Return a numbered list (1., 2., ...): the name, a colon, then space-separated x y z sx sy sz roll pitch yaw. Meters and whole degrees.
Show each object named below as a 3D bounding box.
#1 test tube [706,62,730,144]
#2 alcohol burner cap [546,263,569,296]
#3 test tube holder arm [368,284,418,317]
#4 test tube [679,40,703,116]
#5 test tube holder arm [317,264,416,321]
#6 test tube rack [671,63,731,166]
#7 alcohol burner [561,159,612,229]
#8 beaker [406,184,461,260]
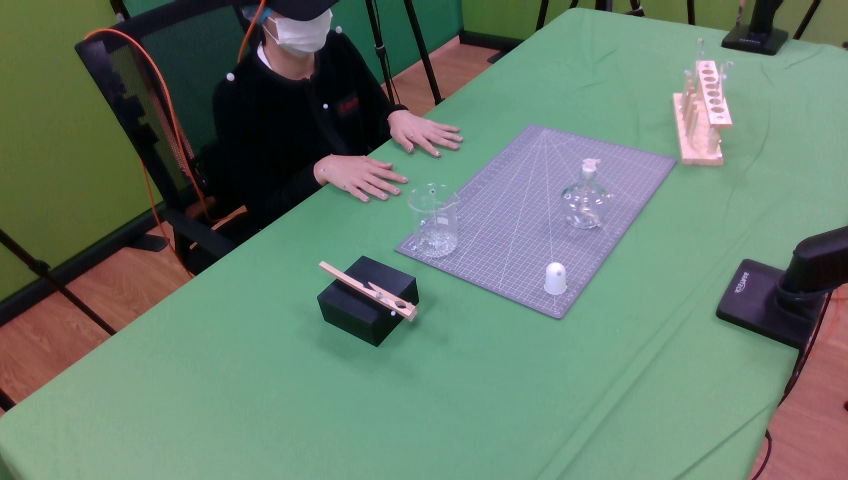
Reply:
1. test tube: 0.507 -0.233 1.046 0.017 0.151 0.017 -5 36 4
2. alcohol burner cap: 0.191 0.053 0.862 0.034 0.048 0.033 -5 40 4
3. test tube holder arm: -0.044 0.082 0.813 0.087 0.015 0.010 23 54 31
4. test tube: 0.502 -0.303 1.138 0.017 0.151 0.017 -3 40 3
5. test tube holder arm: -0.083 0.070 0.833 0.177 0.015 0.013 22 53 30
6. test tube rack: 0.513 -0.240 1.132 0.066 0.085 0.242 4 41 14
7. alcohol burner: 0.257 -0.077 0.951 0.078 0.119 0.077 -3 40 3
8. beaker: 0.019 -0.026 0.939 0.084 0.101 0.074 1 41 10
